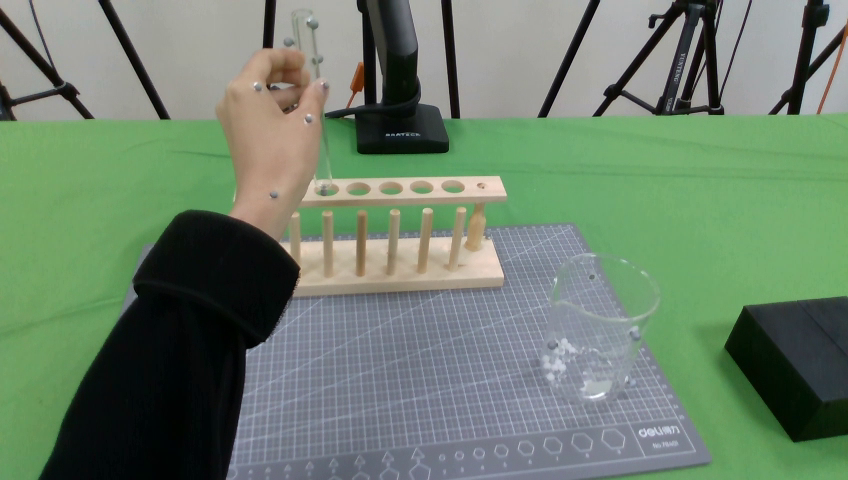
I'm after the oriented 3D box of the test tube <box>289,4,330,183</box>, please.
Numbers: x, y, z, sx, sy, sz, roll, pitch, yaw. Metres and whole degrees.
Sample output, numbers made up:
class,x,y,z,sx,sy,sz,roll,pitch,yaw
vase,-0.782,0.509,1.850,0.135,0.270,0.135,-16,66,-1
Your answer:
class,x,y,z,sx,sy,sz,roll,pitch,yaw
test tube,-0.087,-0.106,0.470,0.017,0.151,0.017,1,43,0

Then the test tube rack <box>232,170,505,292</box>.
class,x,y,z,sx,sy,sz,roll,pitch,yaw
test tube rack,-0.048,-0.010,0.562,0.243,0.086,0.066,-2,39,-8

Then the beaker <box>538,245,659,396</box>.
class,x,y,z,sx,sy,sz,roll,pitch,yaw
beaker,0.127,0.066,0.470,0.084,0.101,0.073,-8,39,-14
